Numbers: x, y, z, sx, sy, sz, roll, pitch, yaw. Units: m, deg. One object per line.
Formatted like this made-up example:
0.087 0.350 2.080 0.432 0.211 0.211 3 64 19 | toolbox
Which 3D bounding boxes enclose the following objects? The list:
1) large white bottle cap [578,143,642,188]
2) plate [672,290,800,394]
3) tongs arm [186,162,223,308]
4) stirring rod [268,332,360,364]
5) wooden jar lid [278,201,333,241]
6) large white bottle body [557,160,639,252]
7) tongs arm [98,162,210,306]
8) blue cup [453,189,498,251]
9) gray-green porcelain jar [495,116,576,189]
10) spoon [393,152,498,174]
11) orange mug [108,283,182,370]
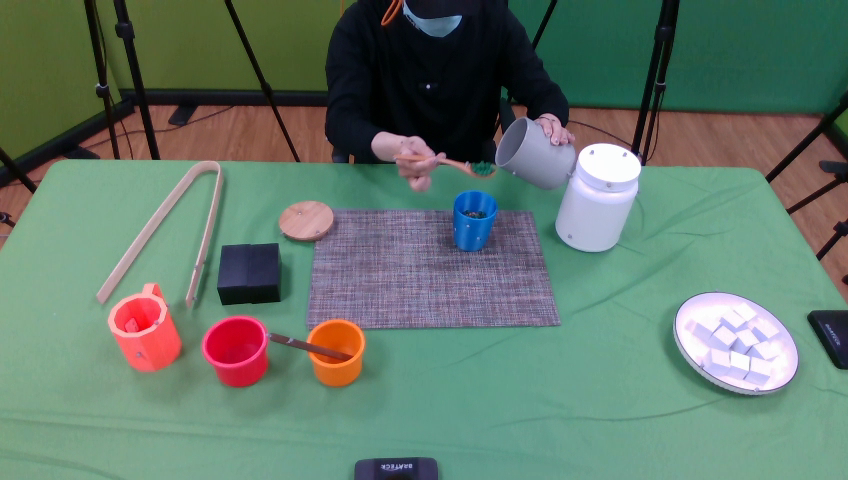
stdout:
0.344 -0.139 1.123 0.115 0.018 0.114 2 46 -2 | large white bottle cap
0.533 0.178 1.050 0.208 0.039 0.206 2 46 -2 | plate
-0.435 -0.025 1.180 0.051 0.027 0.382 -4 46 1 | tongs arm
-0.167 0.169 0.942 0.177 0.006 0.014 26 26 -41 | stirring rod
-0.236 -0.036 1.213 0.108 0.021 0.107 0 47 0 | wooden jar lid
0.340 -0.081 1.185 0.131 0.185 0.130 2 46 -1 | large white bottle body
-0.519 -0.026 1.185 0.028 0.028 0.385 4 46 14 | tongs arm
0.094 -0.032 1.173 0.093 0.101 0.092 3 46 -3 | blue cup
0.218 -0.163 1.161 0.127 0.106 0.105 24 43 -20 | gray-green porcelain jar
0.040 -0.145 1.098 0.194 0.022 0.041 9 43 -11 | spoon
-0.445 0.133 0.982 0.083 0.101 0.125 -1 50 -5 | orange mug
